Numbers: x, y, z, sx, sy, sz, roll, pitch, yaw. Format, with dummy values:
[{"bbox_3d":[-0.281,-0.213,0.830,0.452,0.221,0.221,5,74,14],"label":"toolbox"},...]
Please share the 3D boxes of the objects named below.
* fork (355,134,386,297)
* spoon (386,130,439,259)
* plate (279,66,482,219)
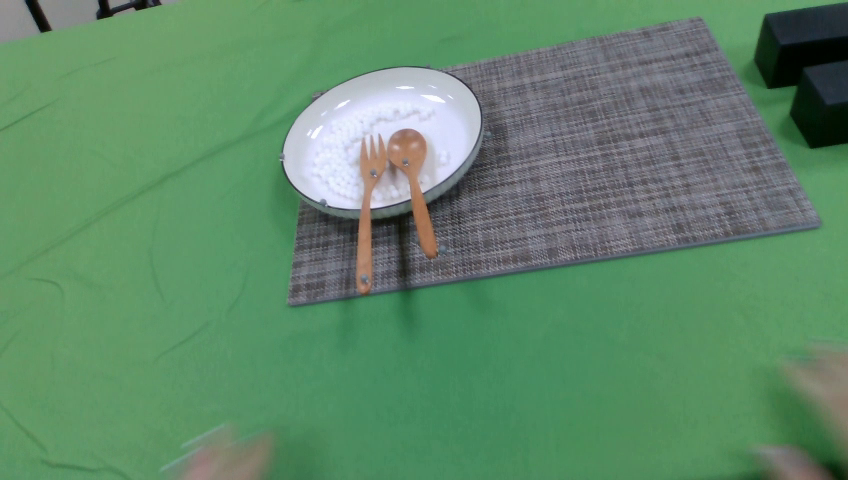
[{"bbox_3d":[-0.051,-0.031,0.548,0.028,0.019,0.205,-7,43,5],"label":"fork"},{"bbox_3d":[-0.009,-0.048,0.549,0.041,0.022,0.191,-12,37,0],"label":"spoon"},{"bbox_3d":[-0.042,-0.098,0.618,0.207,0.039,0.205,-7,51,9],"label":"plate"}]
